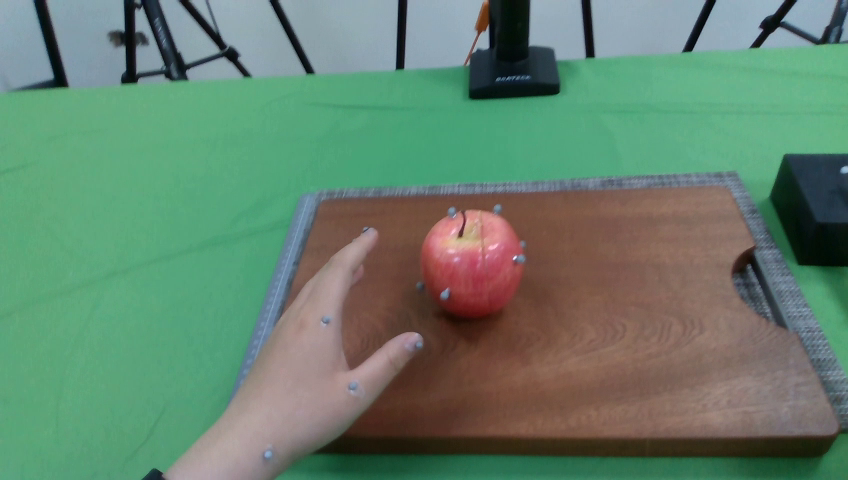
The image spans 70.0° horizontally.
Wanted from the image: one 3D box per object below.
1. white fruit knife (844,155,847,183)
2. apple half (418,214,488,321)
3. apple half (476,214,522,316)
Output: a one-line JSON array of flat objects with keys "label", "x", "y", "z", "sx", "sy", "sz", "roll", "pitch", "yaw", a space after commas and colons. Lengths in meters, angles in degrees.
[{"label": "white fruit knife", "x": 0.363, "y": 0.017, "z": 0.478, "sx": 0.027, "sy": 0.016, "sz": 0.205, "roll": 0, "pitch": 61, "yaw": 7}, {"label": "apple half", "x": 0.022, "y": 0.024, "z": 0.479, "sx": 0.053, "sy": 0.075, "sz": 0.080, "roll": -8, "pitch": 44, "yaw": 7}, {"label": "apple half", "x": 0.061, "y": 0.019, "z": 0.476, "sx": 0.033, "sy": 0.082, "sz": 0.080, "roll": -8, "pitch": 41, "yaw": 6}]
